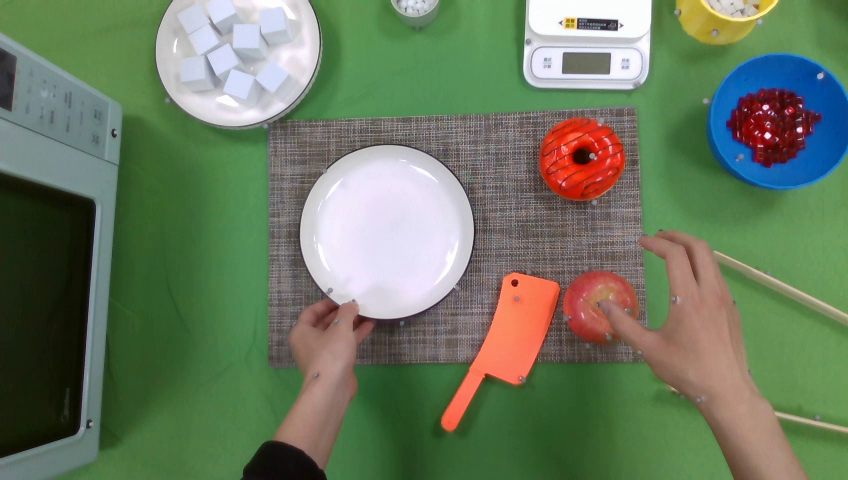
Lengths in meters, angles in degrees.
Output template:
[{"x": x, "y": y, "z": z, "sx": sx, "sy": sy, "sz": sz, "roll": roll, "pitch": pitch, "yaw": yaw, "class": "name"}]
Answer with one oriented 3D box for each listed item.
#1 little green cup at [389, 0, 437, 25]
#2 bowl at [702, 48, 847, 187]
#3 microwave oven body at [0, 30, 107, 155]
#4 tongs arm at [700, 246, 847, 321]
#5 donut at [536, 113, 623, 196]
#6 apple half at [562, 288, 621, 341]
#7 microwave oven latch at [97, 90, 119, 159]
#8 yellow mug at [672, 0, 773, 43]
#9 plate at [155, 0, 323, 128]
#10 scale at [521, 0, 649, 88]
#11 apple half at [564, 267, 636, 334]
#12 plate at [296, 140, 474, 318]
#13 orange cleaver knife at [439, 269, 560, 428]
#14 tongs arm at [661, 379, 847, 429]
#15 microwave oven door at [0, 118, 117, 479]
[{"x": -0.012, "y": -0.297, "z": 0.744, "sx": 0.061, "sy": 0.039, "sz": 0.061, "roll": 0, "pitch": 84, "yaw": 4, "class": "little green cup"}, {"x": 0.380, "y": -0.128, "z": 0.682, "sx": 0.151, "sy": 0.077, "sz": 0.151, "roll": 0, "pitch": 85, "yaw": 4, "class": "bowl"}, {"x": -0.551, "y": 0.024, "z": 0.635, "sx": 0.326, "sy": 0.261, "sz": 0.440, "roll": 1, "pitch": 85, "yaw": 4, "class": "microwave oven body"}, {"x": 0.491, "y": 0.103, "z": 0.678, "sx": 0.387, "sy": 0.028, "sz": 0.028, "roll": 29, "pitch": 79, "yaw": 6, "class": "tongs arm"}, {"x": 0.180, "y": -0.100, "z": 0.706, "sx": 0.099, "sy": 0.048, "sz": 0.099, "roll": 0, "pitch": 86, "yaw": 6, "class": "donut"}, {"x": 0.178, "y": 0.089, "z": 0.673, "sx": 0.081, "sy": 0.081, "sz": 0.033, "roll": 41, "pitch": 86, "yaw": 7, "class": "apple half"}, {"x": -0.392, "y": -0.140, "z": 0.736, "sx": 0.030, "sy": 0.029, "sz": 0.079, "roll": 3, "pitch": 86, "yaw": 4, "class": "microwave oven latch"}, {"x": 0.341, "y": -0.304, "z": 0.706, "sx": 0.100, "sy": 0.064, "sz": 0.130, "roll": -34, "pitch": 83, "yaw": 1, "class": "yellow mug"}, {"x": -0.225, "y": -0.238, "z": 0.753, "sx": 0.207, "sy": 0.039, "sz": 0.207, "roll": 0, "pitch": 85, "yaw": 4, "class": "plate"}, {"x": 0.195, "y": -0.287, "z": 0.732, "sx": 0.148, "sy": 0.031, "sz": 0.200, "roll": 3, "pitch": 85, "yaw": 5, "class": "scale"}, {"x": 0.203, "y": 0.060, "z": 0.676, "sx": 0.080, "sy": 0.075, "sz": 0.053, "roll": 41, "pitch": 85, "yaw": 10, "class": "apple half"}, {"x": -0.045, "y": -0.013, "z": 0.716, "sx": 0.209, "sy": 0.038, "sz": 0.208, "roll": 0, "pitch": 85, "yaw": 4, "class": "plate"}, {"x": 0.088, "y": 0.129, "z": 0.702, "sx": 0.077, "sy": 0.012, "sz": 0.211, "roll": 28, "pitch": 85, "yaw": 0, "class": "orange cleaver knife"}, {"x": 0.461, "y": 0.184, "z": 0.669, "sx": 0.384, "sy": 0.026, "sz": 0.050, "roll": 14, "pitch": 81, "yaw": 5, "class": "tongs arm"}, {"x": -0.407, "y": 0.068, "z": 0.616, "sx": 0.039, "sy": 0.244, "sz": 0.355, "roll": 1, "pitch": 84, "yaw": 4, "class": "microwave oven door"}]
